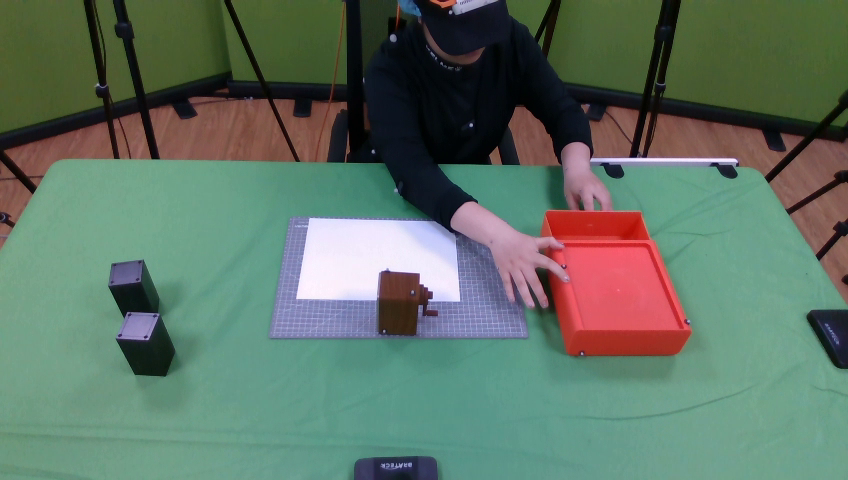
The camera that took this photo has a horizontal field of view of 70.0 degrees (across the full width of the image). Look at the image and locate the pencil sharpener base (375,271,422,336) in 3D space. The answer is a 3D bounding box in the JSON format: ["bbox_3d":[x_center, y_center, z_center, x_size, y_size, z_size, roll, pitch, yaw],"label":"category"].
[{"bbox_3d":[-0.042,0.109,1.025,0.077,0.107,0.061,3,45,-2],"label":"pencil sharpener base"}]

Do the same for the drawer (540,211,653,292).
[{"bbox_3d":[0.335,0.039,1.145,0.195,0.073,0.210,1,46,-4],"label":"drawer"}]

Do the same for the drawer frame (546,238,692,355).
[{"bbox_3d":[0.338,0.097,1.086,0.202,0.083,0.212,0,46,-4],"label":"drawer frame"}]

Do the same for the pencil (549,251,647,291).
[{"bbox_3d":[0.333,0.060,1.163,0.193,0.012,0.012,22,48,14],"label":"pencil"}]

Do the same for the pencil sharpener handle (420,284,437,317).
[{"bbox_3d":[0.009,0.104,1.016,0.030,0.068,0.036,3,38,-2],"label":"pencil sharpener handle"}]
